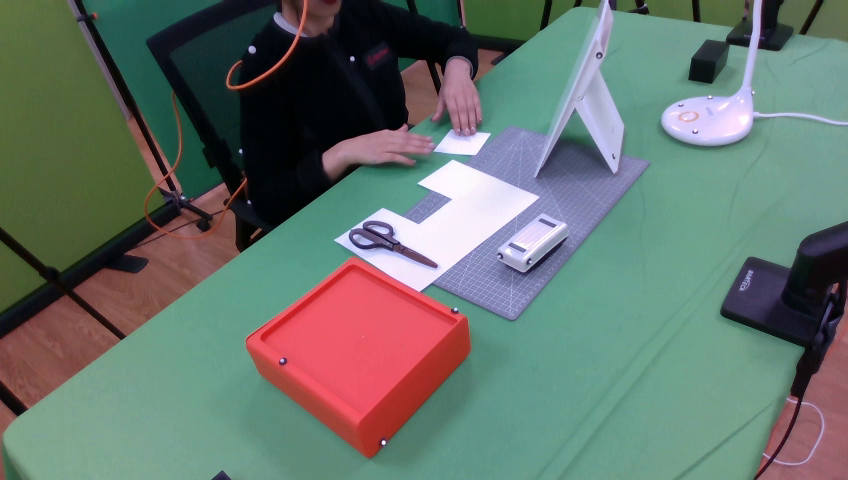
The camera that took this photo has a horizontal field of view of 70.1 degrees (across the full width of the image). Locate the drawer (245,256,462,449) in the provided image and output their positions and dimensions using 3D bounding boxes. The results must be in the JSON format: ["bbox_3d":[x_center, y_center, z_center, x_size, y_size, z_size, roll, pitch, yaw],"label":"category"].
[{"bbox_3d":[-0.089,0.136,0.792,0.210,0.073,0.195,26,51,34],"label":"drawer"}]

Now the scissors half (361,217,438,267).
[{"bbox_3d":[-0.040,0.003,0.986,0.040,0.013,0.173,-33,48,-29],"label":"scissors half"}]

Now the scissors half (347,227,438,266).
[{"bbox_3d":[-0.053,0.015,0.975,0.174,0.013,0.040,17,50,25],"label":"scissors half"}]

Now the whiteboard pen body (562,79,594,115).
[{"bbox_3d":[0.328,-0.306,1.277,0.017,0.017,0.141,20,52,30],"label":"whiteboard pen body"}]

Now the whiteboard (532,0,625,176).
[{"bbox_3d":[0.320,-0.259,1.050,0.144,0.306,0.217,21,45,5],"label":"whiteboard"}]

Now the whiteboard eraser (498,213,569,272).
[{"bbox_3d":[0.168,0.006,0.923,0.113,0.042,0.055,-36,48,-28],"label":"whiteboard eraser"}]

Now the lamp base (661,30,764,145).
[{"bbox_3d":[0.535,-0.287,1.096,0.179,0.181,0.159,-10,40,-4],"label":"lamp base"}]

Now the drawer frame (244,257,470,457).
[{"bbox_3d":[-0.084,0.138,0.788,0.212,0.083,0.202,25,50,33],"label":"drawer frame"}]

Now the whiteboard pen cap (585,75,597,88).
[{"bbox_3d":[0.362,-0.343,1.310,0.018,0.018,0.033,20,54,30],"label":"whiteboard pen cap"}]
